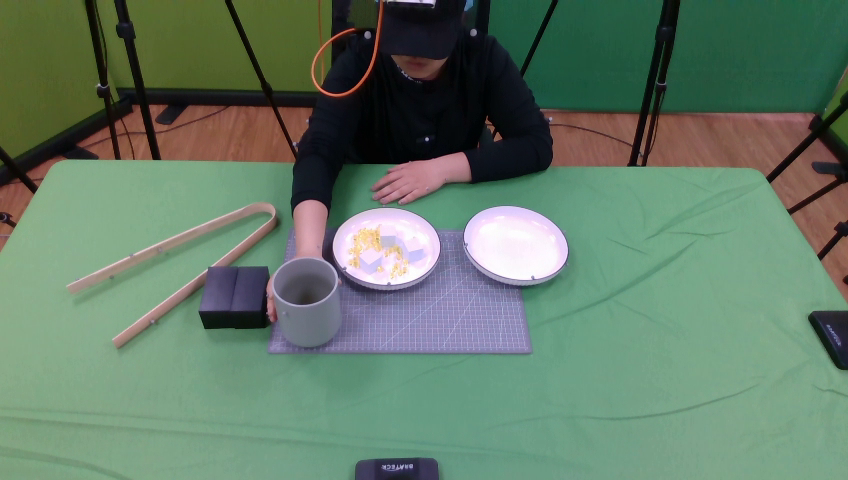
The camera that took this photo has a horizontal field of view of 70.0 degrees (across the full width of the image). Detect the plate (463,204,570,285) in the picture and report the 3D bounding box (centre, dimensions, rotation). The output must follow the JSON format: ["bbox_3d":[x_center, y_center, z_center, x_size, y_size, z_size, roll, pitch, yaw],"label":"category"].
[{"bbox_3d":[0.178,0.012,1.184,0.209,0.038,0.208,3,46,-3],"label":"plate"}]

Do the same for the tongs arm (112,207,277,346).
[{"bbox_3d":[-0.401,0.057,1.108,0.028,0.028,0.387,25,49,23],"label":"tongs arm"}]

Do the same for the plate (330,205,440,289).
[{"bbox_3d":[-0.074,0.017,1.161,0.208,0.039,0.206,2,46,-2],"label":"plate"}]

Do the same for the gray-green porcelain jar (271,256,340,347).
[{"bbox_3d":[-0.193,0.107,1.004,0.106,0.127,0.105,2,46,-2],"label":"gray-green porcelain jar"}]

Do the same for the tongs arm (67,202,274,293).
[{"bbox_3d":[-0.461,0.013,1.142,0.385,0.026,0.050,-31,55,-31],"label":"tongs arm"}]
